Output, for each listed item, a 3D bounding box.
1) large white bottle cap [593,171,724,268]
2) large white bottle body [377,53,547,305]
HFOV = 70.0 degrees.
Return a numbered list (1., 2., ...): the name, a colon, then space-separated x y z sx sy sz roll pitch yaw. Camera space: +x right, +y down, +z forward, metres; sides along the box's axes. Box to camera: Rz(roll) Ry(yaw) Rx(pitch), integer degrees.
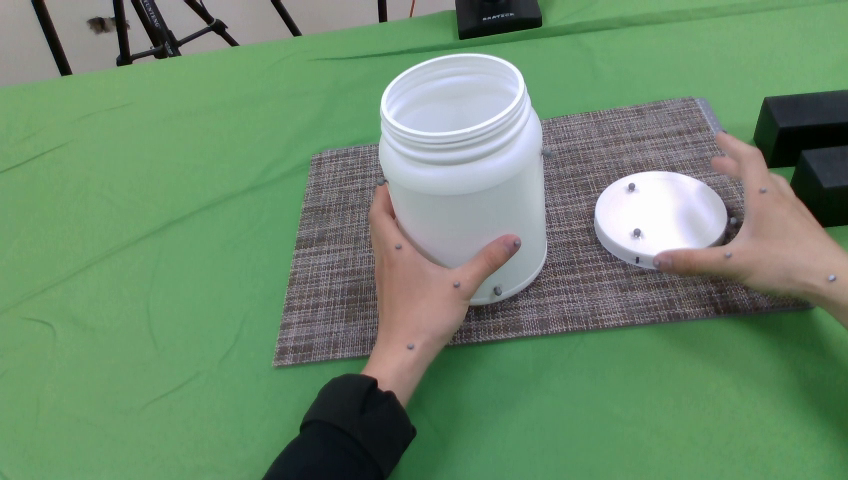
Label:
1. large white bottle cap: 0.216 -0.021 0.563 0.115 0.018 0.113 -5 46 6
2. large white bottle body: 0.035 -0.048 0.511 0.130 0.186 0.129 -7 45 7
